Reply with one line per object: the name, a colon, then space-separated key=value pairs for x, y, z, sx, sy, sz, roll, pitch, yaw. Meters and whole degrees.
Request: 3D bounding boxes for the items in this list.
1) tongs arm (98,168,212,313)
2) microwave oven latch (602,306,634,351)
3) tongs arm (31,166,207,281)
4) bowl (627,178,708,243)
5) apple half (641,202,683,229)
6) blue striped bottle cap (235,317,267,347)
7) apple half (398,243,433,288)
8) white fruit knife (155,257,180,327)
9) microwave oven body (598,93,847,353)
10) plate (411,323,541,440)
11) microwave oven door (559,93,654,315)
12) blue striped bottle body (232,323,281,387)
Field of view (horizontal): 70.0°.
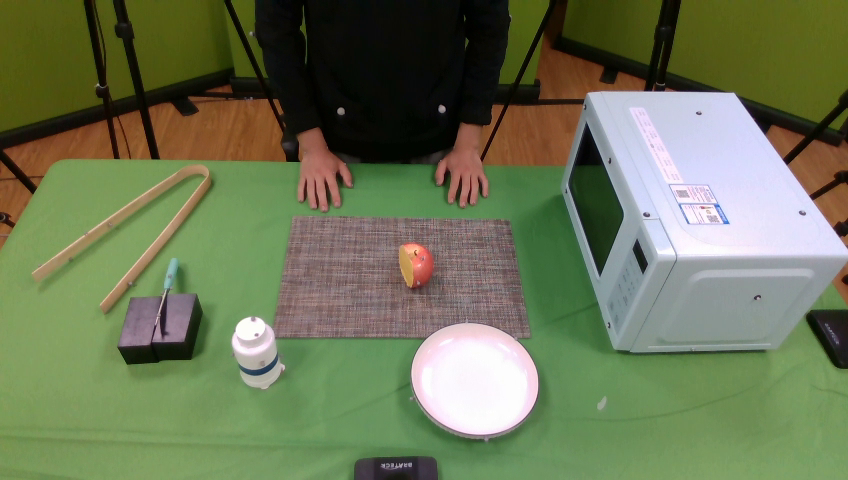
tongs arm: x=-0.503 y=-0.012 z=1.167 sx=0.028 sy=0.028 sz=0.385 roll=11 pitch=46 yaw=11
microwave oven latch: x=0.332 y=0.153 z=1.044 sx=0.030 sy=0.029 sz=0.078 roll=-1 pitch=45 yaw=-4
tongs arm: x=-0.578 y=-0.040 z=1.184 sx=0.050 sy=0.026 sz=0.384 roll=23 pitch=48 yaw=17
bowl: x=0.456 y=-0.047 z=1.168 sx=0.151 sy=0.077 sz=0.150 roll=7 pitch=36 yaw=-5
apple half: x=0.457 y=-0.054 z=1.160 sx=0.081 sy=0.033 sz=0.081 roll=-2 pitch=32 yaw=1
blue striped bottle cap: x=-0.259 y=0.137 z=0.907 sx=0.044 sy=0.021 sz=0.044 roll=3 pitch=43 yaw=-2
apple half: x=-0.012 y=0.047 z=1.115 sx=0.053 sy=0.075 sz=0.080 roll=-11 pitch=43 yaw=-20
white fruit knife: x=-0.440 y=0.085 z=1.037 sx=0.016 sy=0.027 sz=0.206 roll=10 pitch=26 yaw=-19
microwave oven body: x=0.475 y=-0.041 z=1.109 sx=0.326 sy=0.261 sz=0.438 roll=-1 pitch=45 yaw=-4
plate: x=0.082 y=0.228 z=0.976 sx=0.208 sy=0.039 sz=0.206 roll=2 pitch=45 yaw=-2
microwave oven door: x=0.327 y=-0.074 z=1.123 sx=0.039 sy=0.245 sz=0.353 roll=-1 pitch=46 yaw=-5
blue striped bottle body: x=-0.262 y=0.172 z=0.944 sx=0.063 sy=0.121 sz=0.062 roll=2 pitch=46 yaw=-2
